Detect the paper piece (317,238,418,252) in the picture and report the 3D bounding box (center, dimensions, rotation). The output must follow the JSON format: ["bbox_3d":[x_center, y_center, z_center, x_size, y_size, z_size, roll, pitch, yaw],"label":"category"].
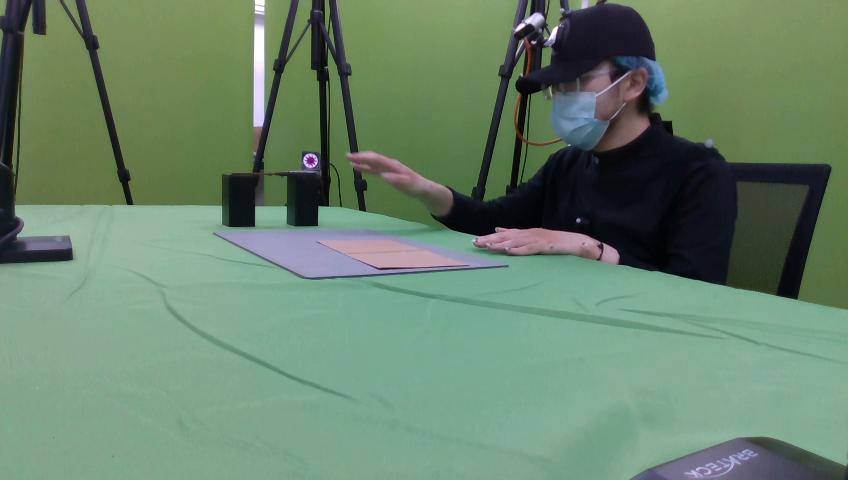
[{"bbox_3d":[-0.088,0.006,0.964,0.136,0.004,0.135,-3,8,-27],"label":"paper piece"}]

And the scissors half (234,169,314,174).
[{"bbox_3d":[-0.304,-0.138,1.228,0.176,0.013,0.040,-7,18,-41],"label":"scissors half"}]

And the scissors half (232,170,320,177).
[{"bbox_3d":[-0.293,-0.133,1.212,0.176,0.013,0.040,-2,10,-24],"label":"scissors half"}]

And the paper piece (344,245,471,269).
[{"bbox_3d":[-0.027,0.024,0.847,0.137,0.008,0.137,-5,11,-26],"label":"paper piece"}]
